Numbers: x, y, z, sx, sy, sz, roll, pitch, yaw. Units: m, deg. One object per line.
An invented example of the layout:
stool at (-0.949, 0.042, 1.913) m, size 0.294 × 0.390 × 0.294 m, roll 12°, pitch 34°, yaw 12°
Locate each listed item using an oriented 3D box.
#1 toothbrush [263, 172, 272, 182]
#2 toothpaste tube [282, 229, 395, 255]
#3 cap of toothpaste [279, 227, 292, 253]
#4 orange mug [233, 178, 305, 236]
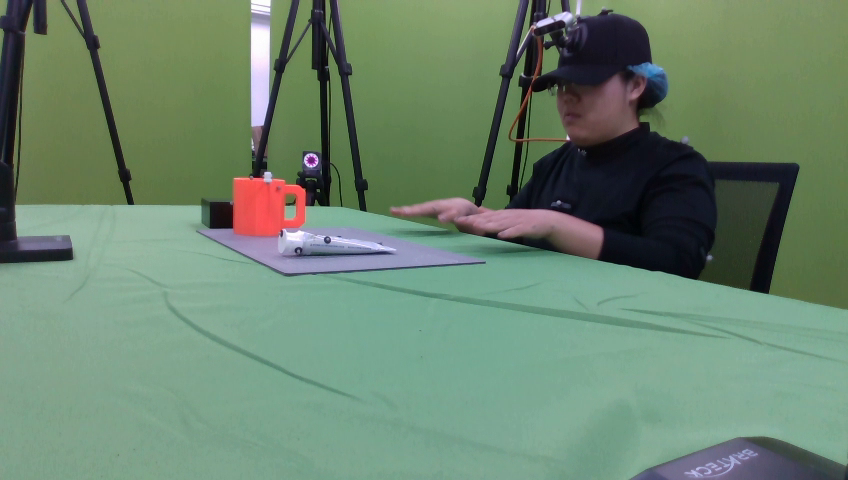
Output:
toothbrush at (-0.273, -0.112, 1.055) m, size 0.014 × 0.016 × 0.181 m, roll -7°, pitch 9°, yaw -13°
toothpaste tube at (-0.123, 0.006, 0.867) m, size 0.166 × 0.034 × 0.055 m, roll 4°, pitch 10°, yaw -34°
cap of toothpaste at (-0.189, 0.001, 0.826) m, size 0.011 × 0.037 × 0.037 m, roll 6°, pitch 4°, yaw -30°
orange mug at (-0.273, -0.061, 1.067) m, size 0.127 × 0.101 × 0.083 m, roll -5°, pitch 10°, yaw -24°
